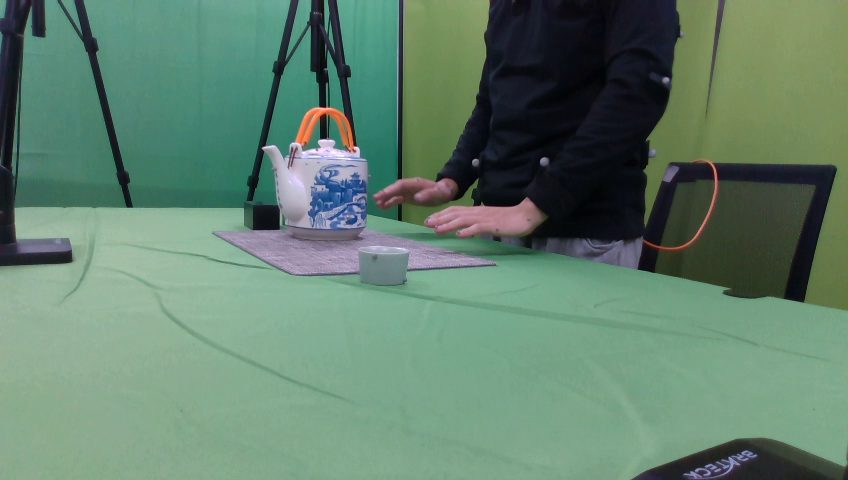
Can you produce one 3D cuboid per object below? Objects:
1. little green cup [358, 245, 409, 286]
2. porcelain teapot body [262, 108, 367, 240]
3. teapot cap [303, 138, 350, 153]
[{"bbox_3d":[-0.048,0.030,0.707,0.061,0.038,0.061,3,9,0],"label":"little green cup"},{"bbox_3d":[-0.190,-0.115,1.041,0.144,0.225,0.206,8,10,36],"label":"porcelain teapot body"},{"bbox_3d":[-0.172,-0.156,1.060,0.085,0.044,0.085,-1,7,0],"label":"teapot cap"}]
